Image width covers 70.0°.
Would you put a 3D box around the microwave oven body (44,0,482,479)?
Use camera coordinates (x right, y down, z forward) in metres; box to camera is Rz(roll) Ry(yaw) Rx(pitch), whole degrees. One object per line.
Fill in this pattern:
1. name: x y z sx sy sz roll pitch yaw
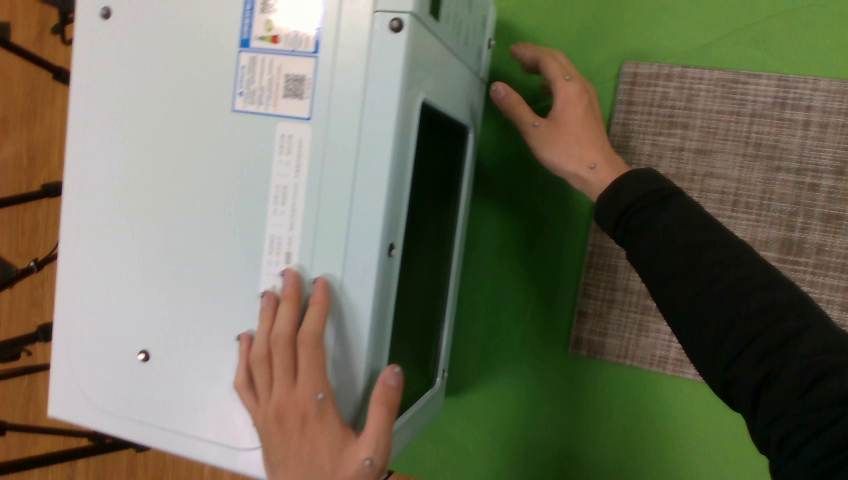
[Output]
1. microwave oven body: -0.144 -0.044 0.589 0.325 0.261 0.442 8 96 17

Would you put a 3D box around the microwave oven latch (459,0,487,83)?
1. microwave oven latch: 0.046 -0.203 0.620 0.030 0.029 0.079 10 97 17

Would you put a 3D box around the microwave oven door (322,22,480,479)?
1. microwave oven door: -0.013 0.017 0.546 0.039 0.244 0.356 8 96 18
